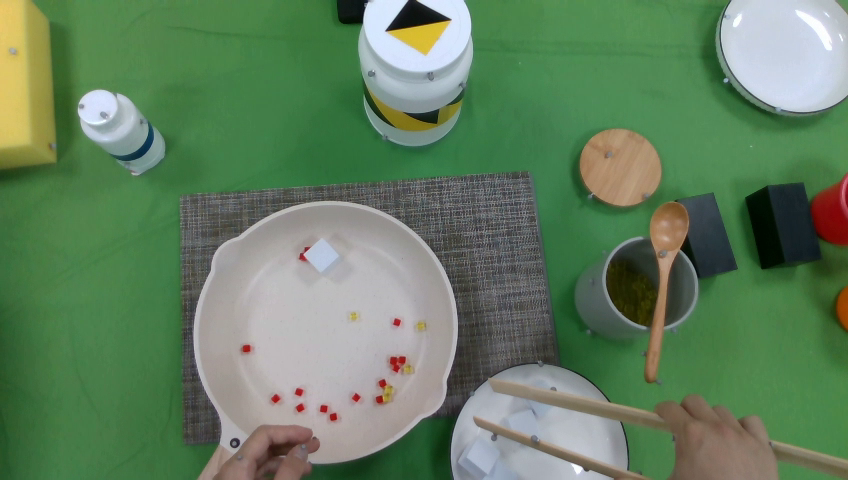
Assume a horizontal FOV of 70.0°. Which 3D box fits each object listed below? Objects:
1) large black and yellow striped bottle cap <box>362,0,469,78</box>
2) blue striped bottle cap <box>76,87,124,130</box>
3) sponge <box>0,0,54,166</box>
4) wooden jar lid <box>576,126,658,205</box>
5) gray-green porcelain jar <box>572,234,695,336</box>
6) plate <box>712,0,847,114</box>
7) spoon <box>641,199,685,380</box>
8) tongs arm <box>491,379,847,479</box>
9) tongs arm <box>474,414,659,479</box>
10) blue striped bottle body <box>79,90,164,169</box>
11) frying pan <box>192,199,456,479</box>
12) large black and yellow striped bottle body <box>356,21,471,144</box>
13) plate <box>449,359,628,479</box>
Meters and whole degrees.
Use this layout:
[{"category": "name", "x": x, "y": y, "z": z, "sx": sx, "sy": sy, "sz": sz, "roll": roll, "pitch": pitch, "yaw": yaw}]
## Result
[{"category": "large black and yellow striped bottle cap", "x": -0.009, "y": -0.229, "z": 0.646, "sx": 0.115, "sy": 0.019, "sz": 0.114, "roll": 1, "pitch": 79, "yaw": -3}, {"category": "blue striped bottle cap", "x": -0.359, "y": -0.146, "z": 0.670, "sx": 0.044, "sy": 0.020, "sz": 0.044, "roll": 1, "pitch": 79, "yaw": -4}, {"category": "sponge", "x": -0.541, "y": -0.198, "z": 0.752, "sx": 0.118, "sy": 0.061, "sz": 0.206, "roll": -10, "pitch": 79, "yaw": -6}, {"category": "wooden jar lid", "x": 0.254, "y": -0.097, "z": 0.804, "sx": 0.108, "sy": 0.021, "sz": 0.108, "roll": 1, "pitch": 79, "yaw": -3}, {"category": "gray-green porcelain jar", "x": 0.238, "y": 0.058, "z": 0.713, "sx": 0.106, "sy": 0.127, "sz": 0.105, "roll": 1, "pitch": 77, "yaw": -4}, {"category": "plate", "x": 0.502, "y": -0.270, "z": 0.848, "sx": 0.209, "sy": 0.038, "sz": 0.208, "roll": 1, "pitch": 77, "yaw": -3}, {"category": "spoon", "x": 0.248, "y": 0.052, "z": 0.644, "sx": 0.042, "sy": 0.021, "sz": 0.193, "roll": 11, "pitch": 80, "yaw": -5}, {"category": "tongs arm", "x": 0.227, "y": 0.178, "z": 0.537, "sx": 0.385, "sy": 0.028, "sz": 0.028, "roll": 7, "pitch": 45, "yaw": 36}, {"category": "tongs arm", "x": 0.214, "y": 0.198, "z": 0.522, "sx": 0.382, "sy": 0.027, "sz": 0.050, "roll": 10, "pitch": 50, "yaw": 38}, {"category": "blue striped bottle body", "x": -0.361, "y": -0.133, "z": 0.719, "sx": 0.063, "sy": 0.121, "sz": 0.063, "roll": 1, "pitch": 77, "yaw": -3}, {"category": "frying pan", "x": -0.170, "y": 0.177, "z": 0.668, "sx": 0.306, "sy": 0.103, "sz": 0.486, "roll": 35, "pitch": 69, "yaw": 5}, {"category": "large black and yellow striped bottle body", "x": -0.014, "y": -0.208, "z": 0.727, "sx": 0.131, "sy": 0.184, "sz": 0.130, "roll": 1, "pitch": 76, "yaw": -3}, {"category": "plate", "x": 0.131, "y": 0.244, "z": 0.709, "sx": 0.208, "sy": 0.039, "sz": 0.206, "roll": 1, "pitch": 79, "yaw": -4}]
